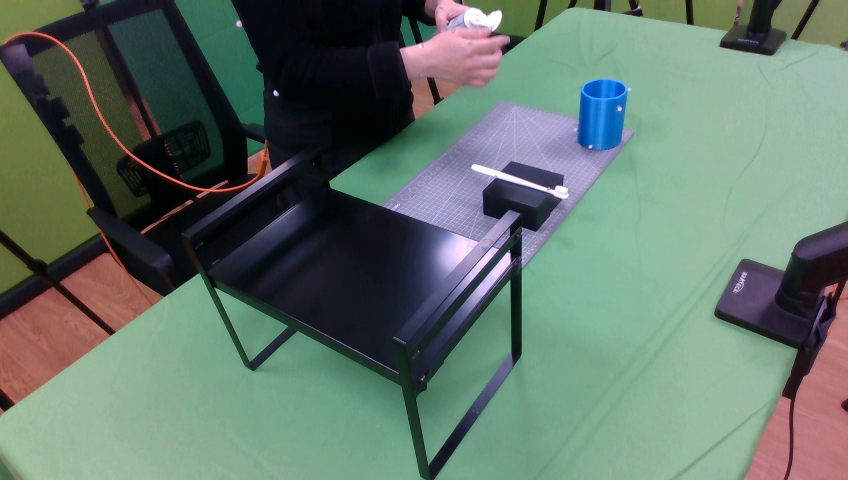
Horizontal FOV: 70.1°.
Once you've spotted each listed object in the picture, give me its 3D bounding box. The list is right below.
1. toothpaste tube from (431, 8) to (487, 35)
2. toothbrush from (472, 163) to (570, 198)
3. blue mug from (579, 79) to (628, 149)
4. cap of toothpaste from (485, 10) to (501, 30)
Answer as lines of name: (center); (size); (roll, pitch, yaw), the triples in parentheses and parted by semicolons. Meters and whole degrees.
toothpaste tube: (0.068, -0.389, 1.094); (0.055, 0.034, 0.164); (-5, 9, -21)
toothbrush: (0.157, -0.101, 0.996); (0.180, 0.017, 0.014); (22, 55, 30)
blue mug: (0.336, -0.246, 1.143); (0.082, 0.106, 0.116); (0, 41, 10)
cap of toothpaste: (0.116, -0.372, 1.019); (0.011, 0.037, 0.037); (19, 30, -30)
